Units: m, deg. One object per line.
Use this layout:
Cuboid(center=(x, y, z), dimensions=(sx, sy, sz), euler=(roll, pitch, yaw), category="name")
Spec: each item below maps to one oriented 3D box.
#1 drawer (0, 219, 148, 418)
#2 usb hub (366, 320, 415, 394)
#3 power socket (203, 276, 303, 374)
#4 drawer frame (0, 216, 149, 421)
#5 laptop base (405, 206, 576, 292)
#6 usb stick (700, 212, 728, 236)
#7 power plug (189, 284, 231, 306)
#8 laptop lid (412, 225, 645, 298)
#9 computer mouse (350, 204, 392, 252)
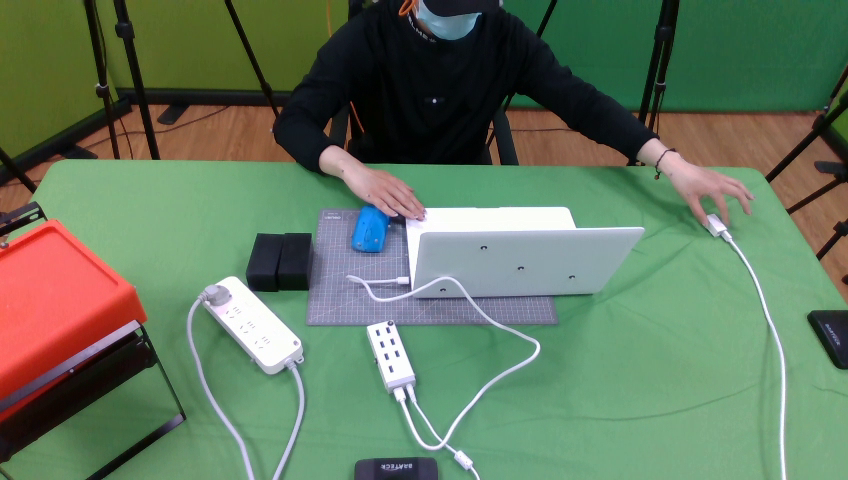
Cuboid(center=(-0.509, 0.093, 0.783), dimensions=(0.193, 0.073, 0.211), euler=(32, 53, 24), category="drawer")
Cuboid(center=(-0.056, 0.192, 1.009), dimensions=(0.049, 0.025, 0.124), euler=(-12, 49, -16), category="usb hub")
Cuboid(center=(-0.296, 0.141, 1.034), dimensions=(0.072, 0.033, 0.225), euler=(-34, 58, -30), category="power socket")
Cuboid(center=(-0.510, 0.093, 0.780), dimensions=(0.201, 0.083, 0.213), euler=(31, 52, 23), category="drawer frame")
Cuboid(center=(0.143, 0.018, 1.196), dimensions=(0.355, 0.023, 0.234), euler=(-1, 43, -6), category="laptop base")
Cuboid(center=(0.606, -0.037, 1.273), dimensions=(0.027, 0.021, 0.059), euler=(-17, 54, -20), category="usb stick")
Cuboid(center=(-0.368, 0.100, 1.037), dimensions=(0.072, 0.053, 0.035), euler=(-24, 54, -26), category="power plug")
Cuboid(center=(0.161, 0.042, 1.012), dimensions=(0.357, 0.242, 0.013), euler=(0, 59, -7), category="laptop lid")
Cuboid(center=(-0.104, -0.027, 1.202), dimensions=(0.063, 0.041, 0.116), euler=(11, 51, 4), category="computer mouse")
